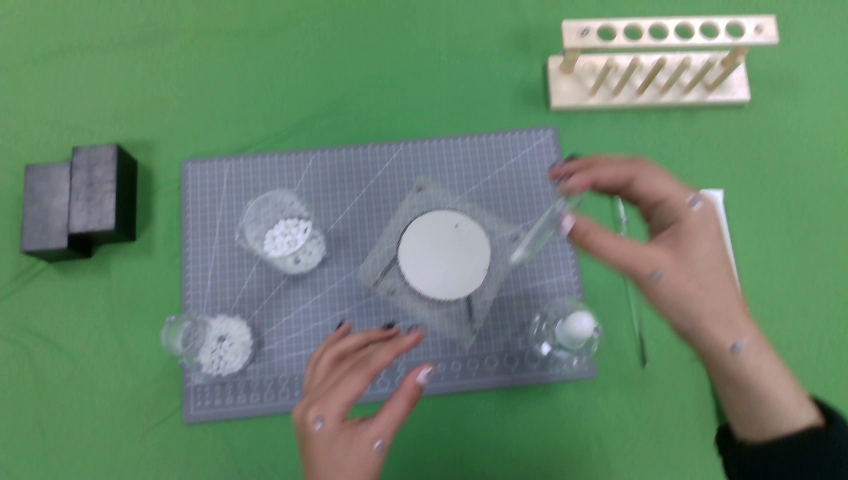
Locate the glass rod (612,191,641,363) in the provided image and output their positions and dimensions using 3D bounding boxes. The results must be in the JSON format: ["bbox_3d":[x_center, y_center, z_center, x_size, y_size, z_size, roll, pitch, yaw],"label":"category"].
[{"bbox_3d":[0.232,0.040,0.695,0.008,0.008,0.199,-4,79,-2],"label":"glass rod"}]

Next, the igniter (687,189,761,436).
[{"bbox_3d":[0.335,0.075,0.678,0.057,0.025,0.275,-1,76,-12],"label":"igniter"}]

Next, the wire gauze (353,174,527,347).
[{"bbox_3d":[0.016,0.015,0.561,0.125,0.011,0.121,31,79,6],"label":"wire gauze"}]

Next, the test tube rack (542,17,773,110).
[{"bbox_3d":[0.270,-0.207,0.716,0.242,0.085,0.066,-2,76,-1],"label":"test tube rack"}]

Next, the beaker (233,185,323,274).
[{"bbox_3d":[-0.151,-0.005,0.649,0.084,0.100,0.073,-22,77,-5],"label":"beaker"}]

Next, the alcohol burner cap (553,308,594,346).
[{"bbox_3d":[0.147,0.082,0.589,0.034,0.048,0.033,1,69,-3],"label":"alcohol burner cap"}]

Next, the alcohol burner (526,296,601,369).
[{"bbox_3d":[0.146,0.093,0.624,0.078,0.119,0.077,0,76,2],"label":"alcohol burner"}]

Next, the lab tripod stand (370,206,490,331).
[{"bbox_3d":[0.012,0.029,0.626,0.148,0.132,0.147,0,78,0],"label":"lab tripod stand"}]

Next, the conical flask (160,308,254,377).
[{"bbox_3d":[-0.223,0.098,0.610,0.075,0.122,0.075,0,76,-1],"label":"conical flask"}]

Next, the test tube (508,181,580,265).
[{"bbox_3d":[0.082,-0.007,0.434,0.017,0.151,0.017,1,73,-4],"label":"test tube"}]
